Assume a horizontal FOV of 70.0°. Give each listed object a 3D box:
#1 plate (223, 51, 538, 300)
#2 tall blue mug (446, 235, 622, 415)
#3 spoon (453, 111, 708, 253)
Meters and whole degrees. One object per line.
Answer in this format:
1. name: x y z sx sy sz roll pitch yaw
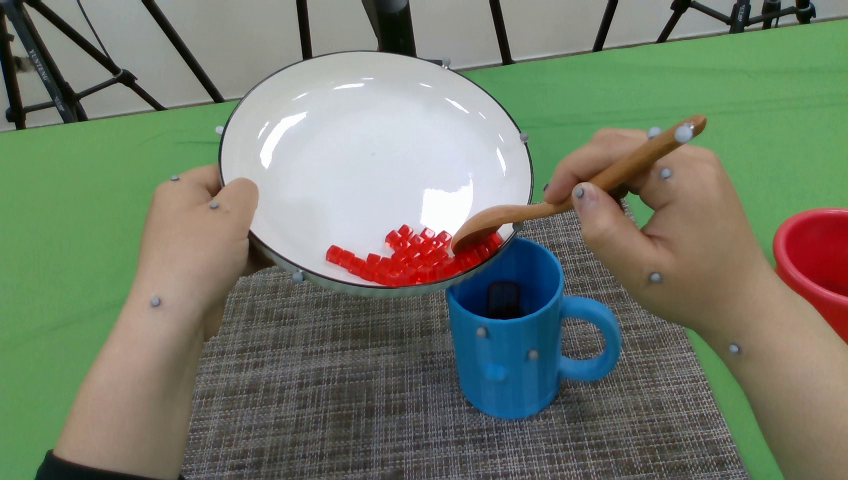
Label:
1. plate: -0.027 -0.047 0.415 0.208 0.039 0.205 5 56 -6
2. tall blue mug: 0.073 0.057 0.420 0.107 0.109 0.077 -12 42 -2
3. spoon: 0.068 -0.021 0.311 0.042 0.193 0.021 -21 88 -28
